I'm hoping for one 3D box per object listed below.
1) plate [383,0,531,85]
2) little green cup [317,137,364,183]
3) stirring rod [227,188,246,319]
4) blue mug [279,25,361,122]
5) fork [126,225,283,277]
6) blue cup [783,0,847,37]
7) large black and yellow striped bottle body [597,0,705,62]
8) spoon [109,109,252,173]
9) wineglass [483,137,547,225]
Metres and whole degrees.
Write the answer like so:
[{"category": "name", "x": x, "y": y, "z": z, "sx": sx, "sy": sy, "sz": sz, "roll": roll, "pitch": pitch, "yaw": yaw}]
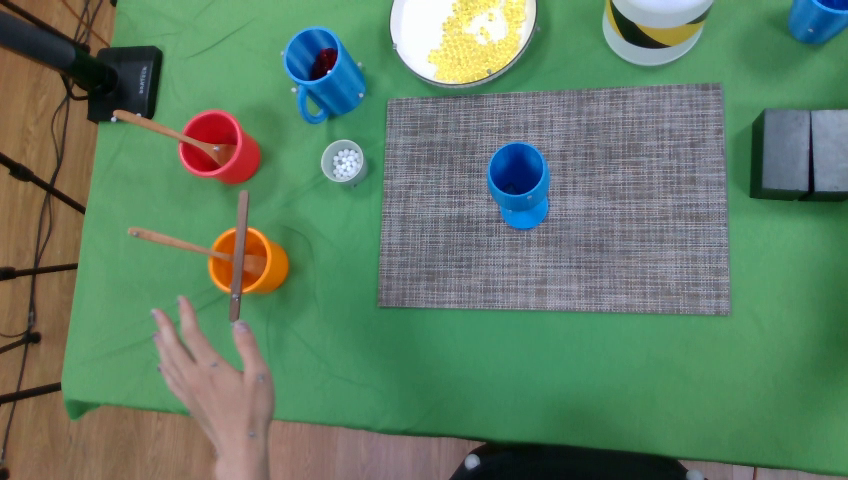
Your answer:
[{"category": "plate", "x": 0.047, "y": -0.314, "z": 0.858, "sx": 0.209, "sy": 0.038, "sz": 0.208, "roll": -2, "pitch": 81, "yaw": 11}, {"category": "little green cup", "x": -0.116, "y": -0.111, "z": 0.858, "sx": 0.061, "sy": 0.039, "sz": 0.061, "roll": -2, "pitch": 81, "yaw": 12}, {"category": "stirring rod", "x": -0.249, "y": 0.017, "z": 0.805, "sx": 0.014, "sy": 0.006, "sz": 0.175, "roll": -1, "pitch": 81, "yaw": 11}, {"category": "blue mug", "x": -0.149, "y": -0.222, "z": 0.848, "sx": 0.082, "sy": 0.106, "sz": 0.116, "roll": 21, "pitch": 86, "yaw": 14}, {"category": "fork", "x": -0.290, "y": 0.014, "z": 0.816, "sx": 0.209, "sy": 0.018, "sz": 0.028, "roll": 19, "pitch": 90, "yaw": -30}, {"category": "blue cup", "x": 0.483, "y": -0.296, "z": 0.733, "sx": 0.092, "sy": 0.101, "sz": 0.092, "roll": -2, "pitch": 81, "yaw": 13}, {"category": "large black and yellow striped bottle body", "x": 0.281, "y": -0.315, "z": 0.734, "sx": 0.130, "sy": 0.185, "sz": 0.130, "roll": -2, "pitch": 80, "yaw": 12}, {"category": "spoon", "x": -0.339, "y": -0.143, "z": 0.854, "sx": 0.195, "sy": 0.021, "sz": 0.041, "roll": 21, "pitch": 85, "yaw": -30}, {"category": "wineglass", "x": 0.112, "y": -0.066, "z": 0.731, "sx": 0.073, "sy": 0.173, "sz": 0.073, "roll": -2, "pitch": 80, "yaw": 12}]
